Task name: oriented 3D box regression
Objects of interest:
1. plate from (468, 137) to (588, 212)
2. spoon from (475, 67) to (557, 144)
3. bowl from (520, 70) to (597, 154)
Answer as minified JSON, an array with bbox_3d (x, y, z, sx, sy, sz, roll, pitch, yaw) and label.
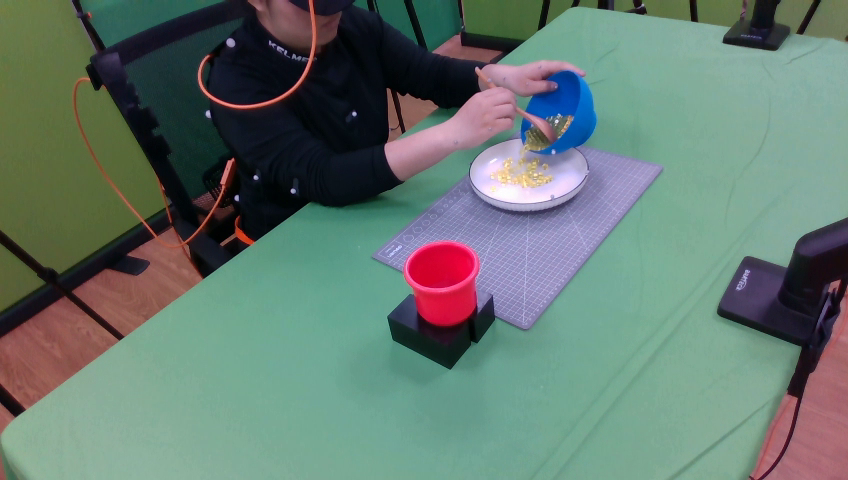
[{"bbox_3d":[0.182,-0.111,1.064,0.207,0.039,0.206,-5,40,5],"label":"plate"},{"bbox_3d":[0.158,-0.227,1.030,0.194,0.021,0.041,35,38,-12],"label":"spoon"},{"bbox_3d":[0.248,-0.211,1.058,0.077,0.151,0.150,19,31,-28],"label":"bowl"}]
